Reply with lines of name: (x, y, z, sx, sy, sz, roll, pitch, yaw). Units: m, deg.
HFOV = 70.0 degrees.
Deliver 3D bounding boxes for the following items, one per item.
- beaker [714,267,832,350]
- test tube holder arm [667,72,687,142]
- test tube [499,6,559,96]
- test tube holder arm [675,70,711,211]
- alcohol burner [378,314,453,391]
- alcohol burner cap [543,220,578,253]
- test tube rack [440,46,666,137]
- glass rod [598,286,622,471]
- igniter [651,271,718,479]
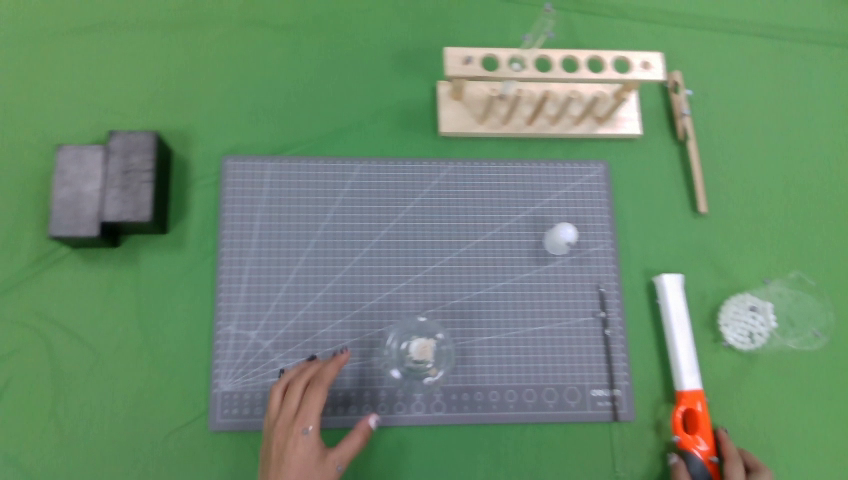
beaker: (0.369, 0.078, 0.653, 0.074, 0.100, 0.083, 13, 75, -2)
test tube holder arm: (0.314, -0.164, 0.746, 0.010, 0.015, 0.087, -14, 77, 28)
test tube: (0.109, -0.196, 0.648, 0.017, 0.150, 0.017, 3, 73, -10)
test tube holder arm: (0.324, -0.121, 0.734, 0.013, 0.015, 0.177, -14, 77, 28)
alcohol burner: (-0.007, 0.109, 0.600, 0.078, 0.119, 0.077, 1, 74, -4)
alcohol burner cap: (0.156, -0.006, 0.679, 0.034, 0.048, 0.033, 1, 77, -5)
test tube rack: (0.143, -0.167, 0.695, 0.243, 0.085, 0.066, 0, 77, -5)
glass rod: (0.203, 0.148, 0.665, 0.008, 0.008, 0.198, -1, 77, -6)
igniter: (0.285, 0.170, 0.659, 0.057, 0.025, 0.275, 2, 75, -25)
